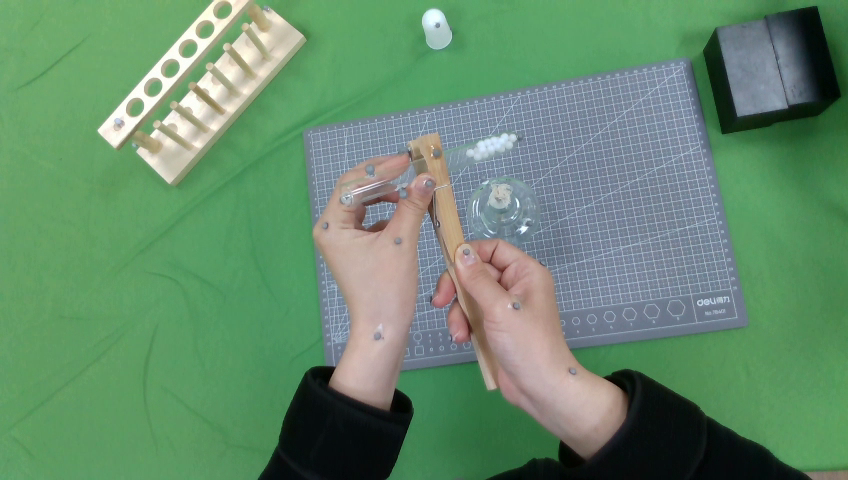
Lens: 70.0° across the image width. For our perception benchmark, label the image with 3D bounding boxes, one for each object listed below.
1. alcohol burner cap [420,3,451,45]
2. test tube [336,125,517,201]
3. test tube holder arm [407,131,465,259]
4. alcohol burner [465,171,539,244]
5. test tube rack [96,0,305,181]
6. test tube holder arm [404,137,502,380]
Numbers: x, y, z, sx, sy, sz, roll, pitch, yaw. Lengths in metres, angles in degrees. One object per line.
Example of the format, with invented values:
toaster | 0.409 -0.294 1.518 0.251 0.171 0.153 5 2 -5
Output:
alcohol burner cap | 0.012 -0.254 0.702 0.034 0.048 0.033 -3 75 11
test tube | 0.008 -0.055 0.412 0.150 0.017 0.017 -23 75 -31
test tube holder arm | 0.009 -0.030 0.407 0.015 0.010 0.088 -20 103 -12
alcohol burner | 0.079 -0.038 0.620 0.078 0.120 0.077 -2 79 10
test tube rack | -0.257 -0.190 0.711 0.066 0.085 0.242 41 89 13
test tube holder arm | 0.021 0.013 0.419 0.015 0.013 0.178 -19 96 -11
